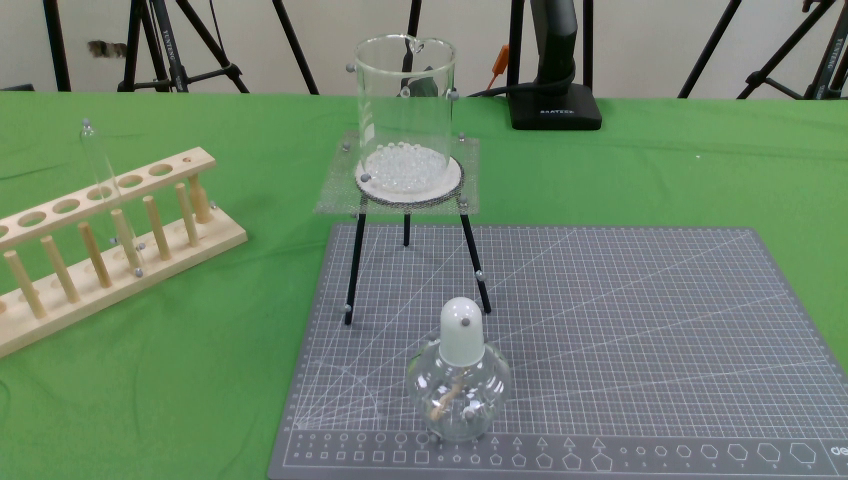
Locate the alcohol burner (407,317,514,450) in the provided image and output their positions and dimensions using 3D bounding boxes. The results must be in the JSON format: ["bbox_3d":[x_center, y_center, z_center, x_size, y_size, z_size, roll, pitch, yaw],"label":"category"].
[{"bbox_3d":[0.026,0.094,0.428,0.078,0.120,0.077,0,40,0],"label":"alcohol burner"}]

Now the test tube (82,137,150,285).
[{"bbox_3d":[-0.270,-0.021,0.533,0.017,0.151,0.017,0,37,0],"label":"test tube"}]

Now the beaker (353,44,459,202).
[{"bbox_3d":[-0.013,-0.087,0.458,0.074,0.101,0.083,8,38,7],"label":"beaker"}]

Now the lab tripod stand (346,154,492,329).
[{"bbox_3d":[-0.007,0.003,0.528,0.148,0.132,0.147,1,37,0],"label":"lab tripod stand"}]

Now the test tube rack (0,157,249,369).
[{"bbox_3d":[-0.294,0.013,0.563,0.242,0.086,0.066,-29,46,-32],"label":"test tube rack"}]

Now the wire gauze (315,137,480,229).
[{"bbox_3d":[-0.016,-0.048,0.486,0.121,0.011,0.124,2,40,3],"label":"wire gauze"}]

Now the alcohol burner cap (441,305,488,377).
[{"bbox_3d":[0.027,0.065,0.406,0.034,0.048,0.033,-2,38,2],"label":"alcohol burner cap"}]
